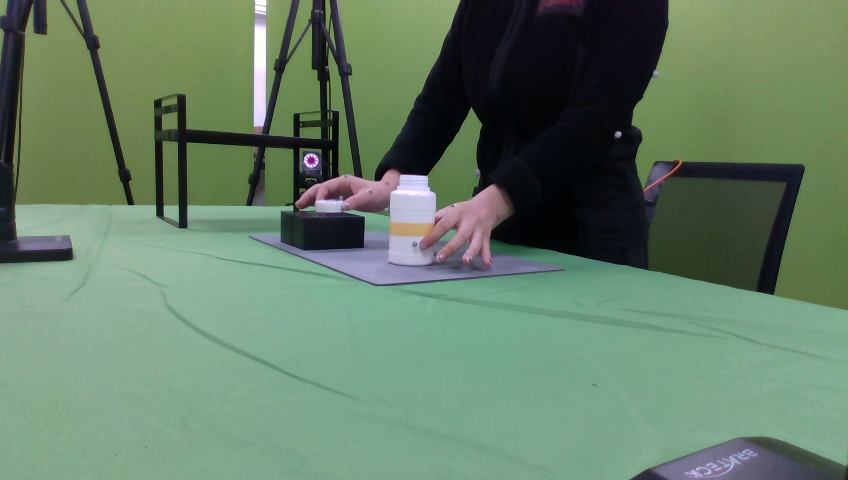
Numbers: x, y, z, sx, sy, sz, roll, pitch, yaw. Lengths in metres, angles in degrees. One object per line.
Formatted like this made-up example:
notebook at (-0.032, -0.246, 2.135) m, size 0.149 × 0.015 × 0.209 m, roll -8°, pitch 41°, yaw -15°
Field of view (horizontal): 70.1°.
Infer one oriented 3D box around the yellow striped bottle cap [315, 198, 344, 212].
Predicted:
yellow striped bottle cap at (-0.148, -0.055, 0.945) m, size 0.044 × 0.018 × 0.044 m, roll 2°, pitch 10°, yaw 0°

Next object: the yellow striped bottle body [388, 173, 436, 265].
yellow striped bottle body at (-0.016, -0.030, 0.813) m, size 0.063 × 0.120 × 0.063 m, roll 2°, pitch 7°, yaw 0°
